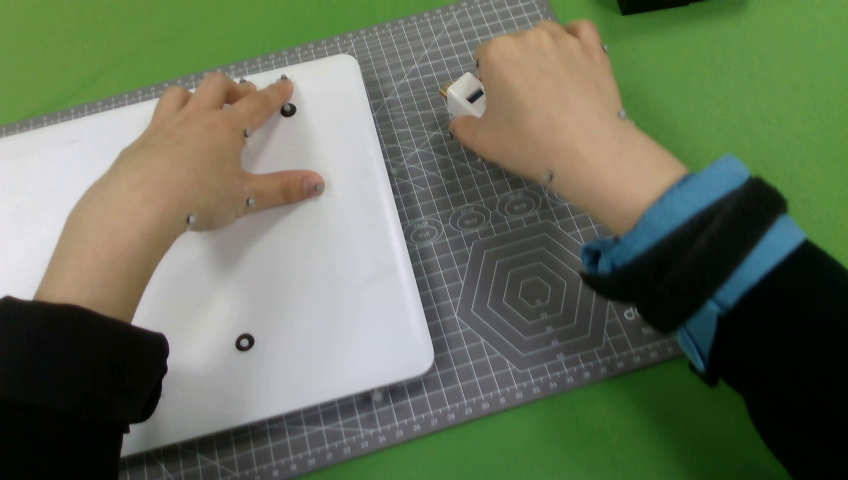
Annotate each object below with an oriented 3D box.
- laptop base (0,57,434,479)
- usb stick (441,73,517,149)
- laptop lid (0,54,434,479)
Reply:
[{"bbox_3d":[-0.189,0.017,0.383,0.354,0.023,0.233,-15,69,-2],"label":"laptop base"},{"bbox_3d":[0.033,-0.088,0.392,0.021,0.027,0.058,-41,65,-10],"label":"usb stick"},{"bbox_3d":[-0.190,0.014,0.372,0.357,0.013,0.239,-13,68,-2],"label":"laptop lid"}]
